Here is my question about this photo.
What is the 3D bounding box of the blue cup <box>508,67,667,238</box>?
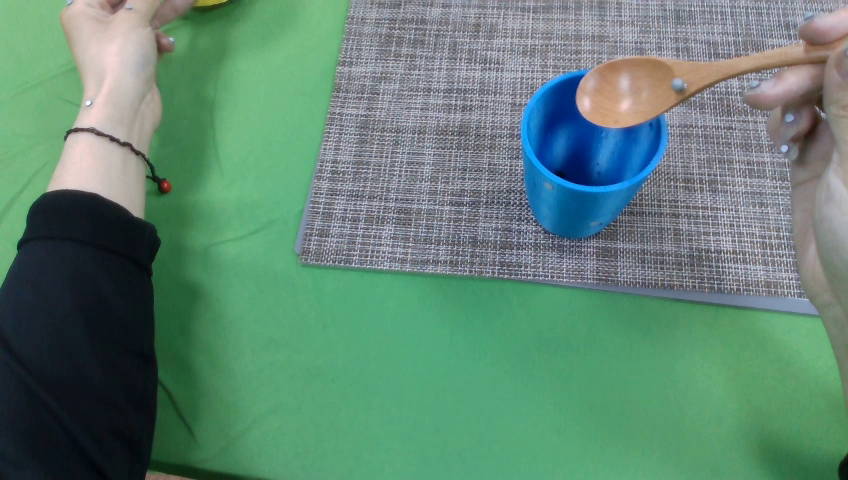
[{"bbox_3d":[0.104,-0.048,0.401,0.092,0.101,0.092,-2,67,6],"label":"blue cup"}]

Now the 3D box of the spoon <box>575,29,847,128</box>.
[{"bbox_3d":[0.162,-0.083,0.287,0.192,0.022,0.041,-1,78,45],"label":"spoon"}]

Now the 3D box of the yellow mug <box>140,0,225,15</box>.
[{"bbox_3d":[-0.204,-0.249,0.513,0.099,0.064,0.130,19,71,11],"label":"yellow mug"}]
